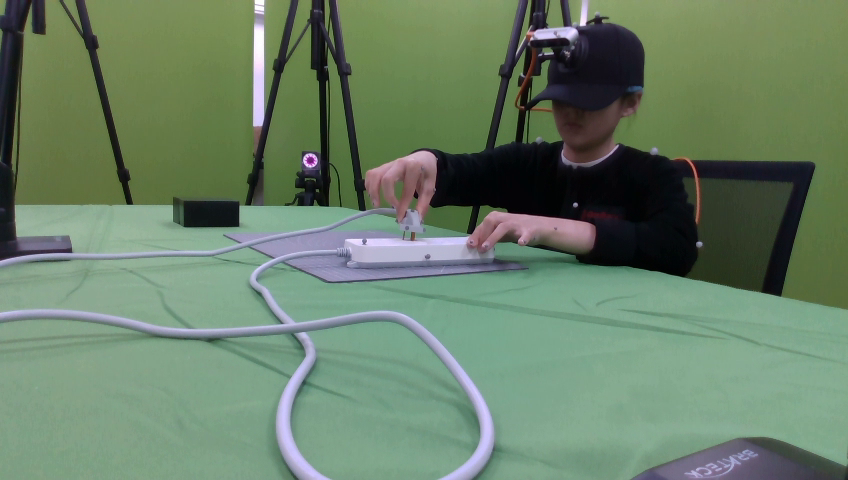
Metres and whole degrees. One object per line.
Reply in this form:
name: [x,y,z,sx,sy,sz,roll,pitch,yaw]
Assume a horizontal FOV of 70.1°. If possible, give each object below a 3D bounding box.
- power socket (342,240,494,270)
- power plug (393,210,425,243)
power socket: [-0.006,0.018,0.831,0.228,0.032,0.072,-1,7,-27]
power plug: [-0.023,-0.015,0.850,0.035,0.052,0.072,8,1,-15]
